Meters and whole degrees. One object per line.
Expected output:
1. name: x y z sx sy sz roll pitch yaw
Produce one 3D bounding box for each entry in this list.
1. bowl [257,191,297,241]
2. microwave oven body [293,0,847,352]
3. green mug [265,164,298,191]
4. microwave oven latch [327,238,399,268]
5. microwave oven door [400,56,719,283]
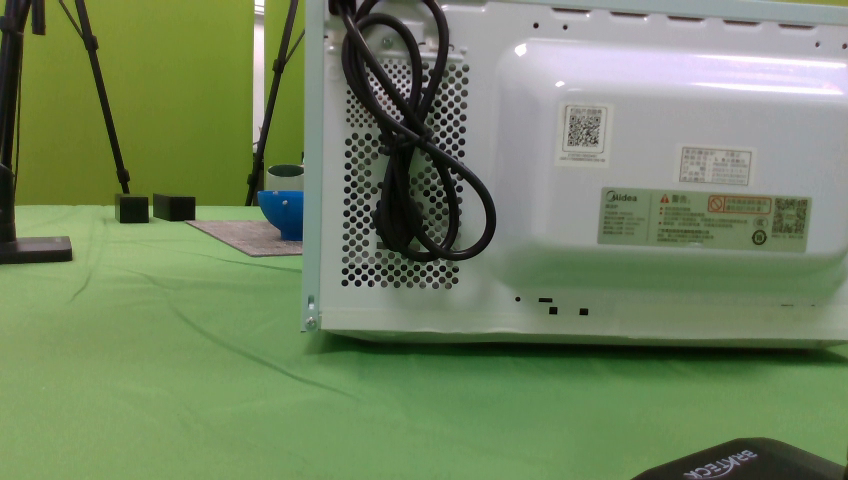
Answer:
1. bowl: -0.207 -0.041 1.027 0.151 0.077 0.151 3 8 0
2. microwave oven body: 0.122 -0.055 0.550 0.442 0.260 0.325 3 7 -5
3. green mug: -0.275 -0.100 1.259 0.092 0.105 0.125 14 28 18
4. microwave oven latch: -0.069 0.015 0.694 0.079 0.029 0.030 3 7 -3
5. microwave oven door: 0.155 -0.078 0.697 0.356 0.243 0.039 2 8 -5
